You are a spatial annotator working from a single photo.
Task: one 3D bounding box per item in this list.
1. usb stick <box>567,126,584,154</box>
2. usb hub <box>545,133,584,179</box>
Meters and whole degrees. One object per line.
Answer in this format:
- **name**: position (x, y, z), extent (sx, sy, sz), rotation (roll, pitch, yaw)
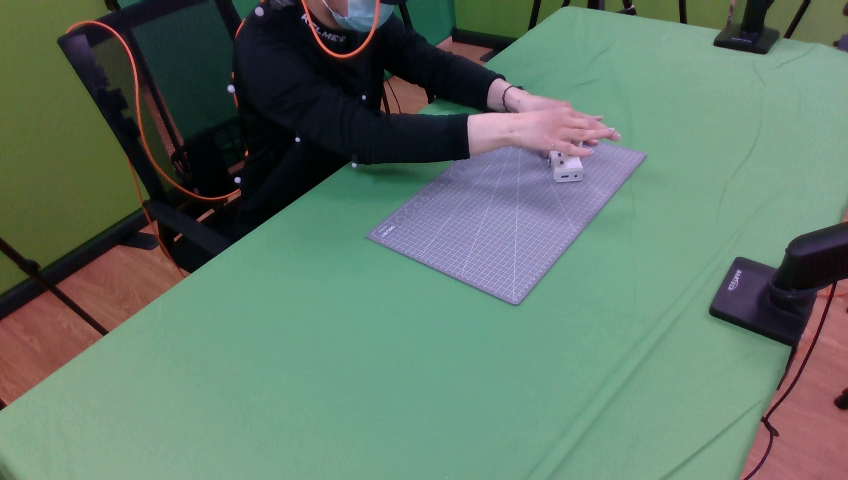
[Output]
- **usb stick**: position (0.268, -0.172, 1.076), extent (0.027, 0.059, 0.021), rotation (-2, 40, 2)
- **usb hub**: position (0.255, -0.154, 1.101), extent (0.049, 0.025, 0.124), rotation (1, 40, -1)
